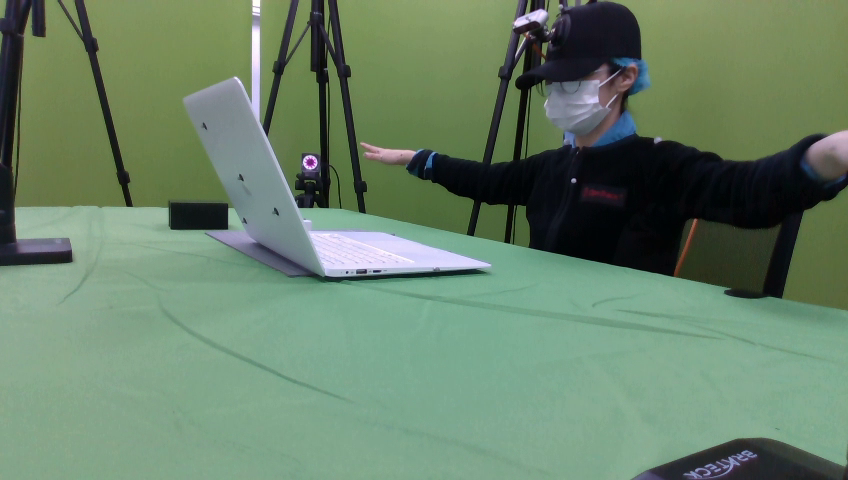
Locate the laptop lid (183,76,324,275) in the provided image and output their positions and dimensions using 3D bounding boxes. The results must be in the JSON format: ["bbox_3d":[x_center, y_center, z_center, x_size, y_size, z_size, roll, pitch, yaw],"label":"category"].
[{"bbox_3d":[-0.237,-0.085,0.791,0.013,0.242,0.355,-29,22,-23],"label":"laptop lid"}]

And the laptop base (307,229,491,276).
[{"bbox_3d":[-0.094,0.015,0.888,0.237,0.023,0.352,2,7,-30],"label":"laptop base"}]

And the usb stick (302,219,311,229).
[{"bbox_3d":[-0.235,-0.025,1.102,0.021,0.027,0.059,9,12,37],"label":"usb stick"}]
